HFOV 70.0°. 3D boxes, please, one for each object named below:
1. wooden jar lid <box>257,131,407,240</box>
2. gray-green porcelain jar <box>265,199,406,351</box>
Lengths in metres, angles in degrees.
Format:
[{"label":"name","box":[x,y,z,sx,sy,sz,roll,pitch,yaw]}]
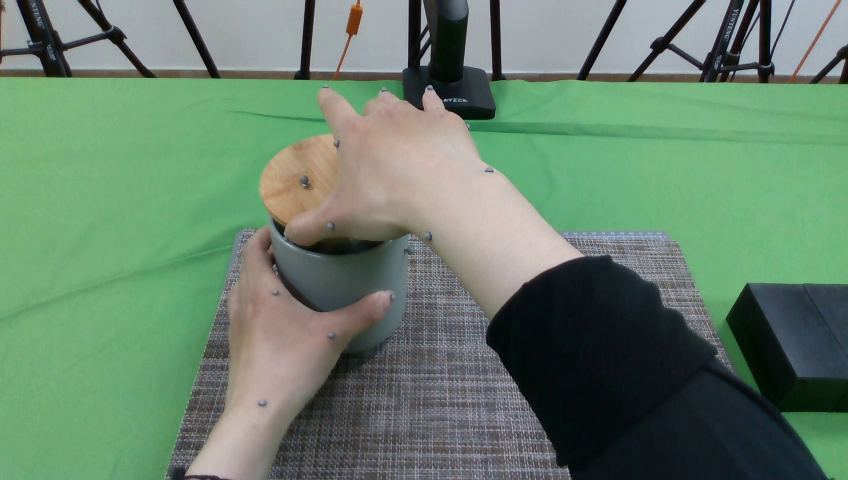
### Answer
[{"label":"wooden jar lid","box":[-0.066,-0.040,0.445,0.108,0.021,0.107,3,48,-3]},{"label":"gray-green porcelain jar","box":[-0.068,0.020,0.498,0.106,0.127,0.105,2,44,-2]}]
